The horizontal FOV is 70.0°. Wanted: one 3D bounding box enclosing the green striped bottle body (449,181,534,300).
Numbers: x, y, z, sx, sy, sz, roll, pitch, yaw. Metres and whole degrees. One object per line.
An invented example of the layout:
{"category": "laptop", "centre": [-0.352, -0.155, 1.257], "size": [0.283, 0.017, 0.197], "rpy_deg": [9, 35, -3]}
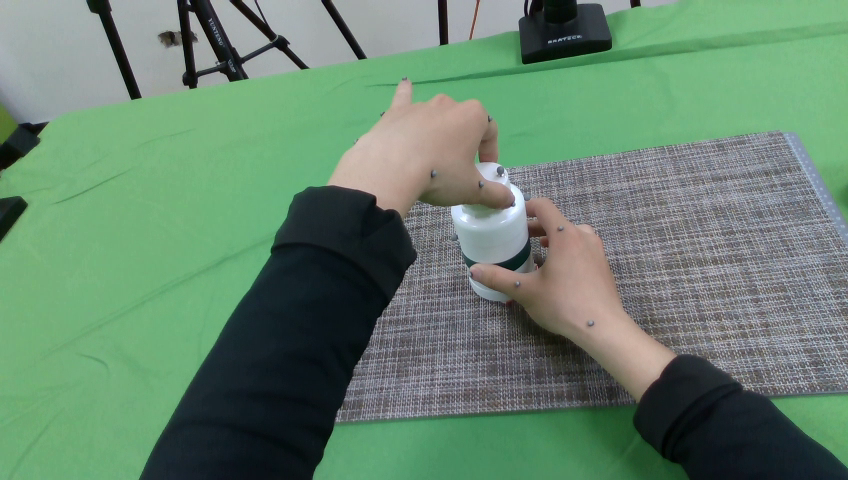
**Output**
{"category": "green striped bottle body", "centre": [0.059, -0.007, 0.530], "size": [0.063, 0.120, 0.062], "rpy_deg": [-9, 45, 10]}

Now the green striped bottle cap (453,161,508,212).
{"category": "green striped bottle cap", "centre": [0.046, -0.044, 0.492], "size": [0.044, 0.020, 0.044], "rpy_deg": [-9, 44, 9]}
